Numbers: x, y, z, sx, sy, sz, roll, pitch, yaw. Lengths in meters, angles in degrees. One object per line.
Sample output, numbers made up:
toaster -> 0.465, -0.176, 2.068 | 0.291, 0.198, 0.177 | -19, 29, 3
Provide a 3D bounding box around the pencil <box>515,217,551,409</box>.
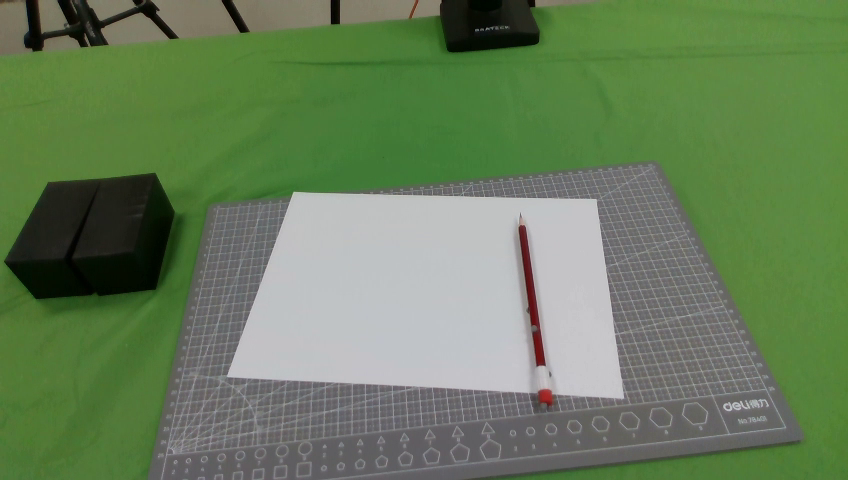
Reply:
pencil -> 0.086, 0.049, 0.497 | 0.012, 0.012, 0.192 | -2, 47, 2
